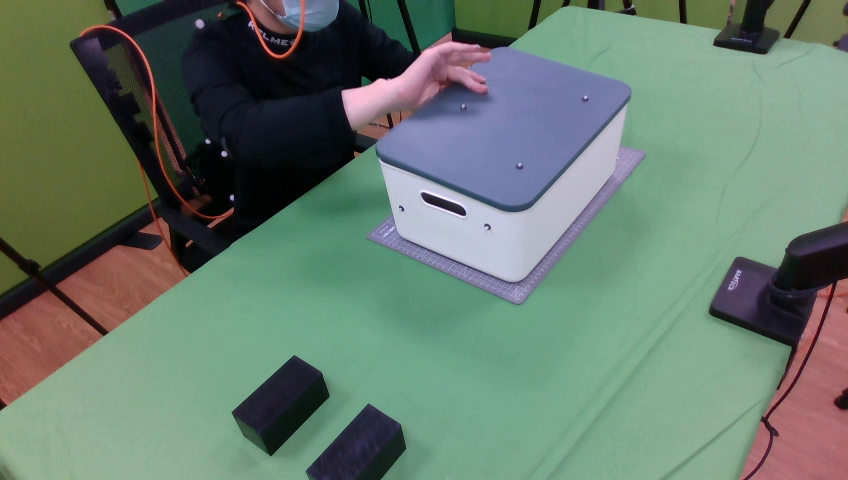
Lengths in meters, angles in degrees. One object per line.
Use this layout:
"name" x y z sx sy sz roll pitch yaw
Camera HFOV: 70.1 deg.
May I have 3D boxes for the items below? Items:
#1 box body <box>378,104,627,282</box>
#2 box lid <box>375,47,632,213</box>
"box body" 0.137 -0.121 0.978 0.252 0.161 0.365 22 49 30
"box lid" 0.130 -0.187 0.922 0.261 0.015 0.372 27 52 25
